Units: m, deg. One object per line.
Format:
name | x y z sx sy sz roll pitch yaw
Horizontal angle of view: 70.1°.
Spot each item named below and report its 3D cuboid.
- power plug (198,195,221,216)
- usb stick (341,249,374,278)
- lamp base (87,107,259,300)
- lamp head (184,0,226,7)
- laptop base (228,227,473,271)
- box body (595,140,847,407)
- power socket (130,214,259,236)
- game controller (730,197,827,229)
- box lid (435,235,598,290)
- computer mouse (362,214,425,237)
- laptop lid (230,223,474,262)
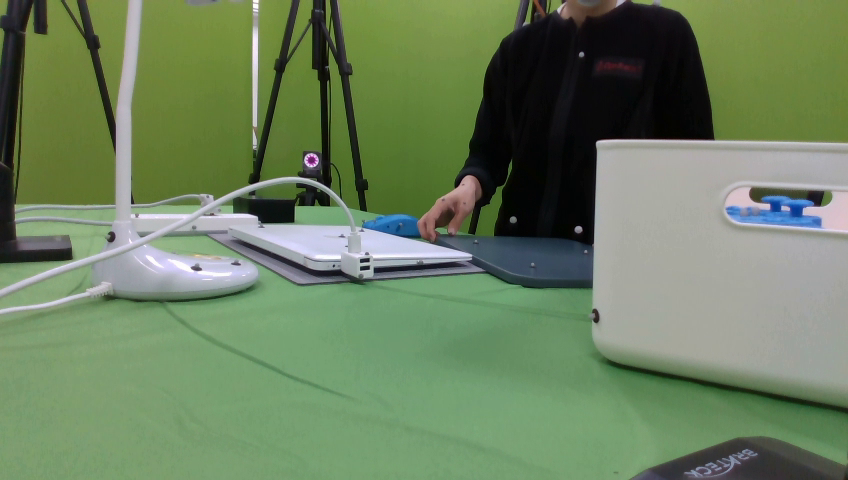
power plug | -0.386 -0.055 1.088 0.035 0.052 0.072 -2 6 -24
usb stick | -0.078 0.026 0.686 0.021 0.027 0.059 -8 8 -30
lamp base | -0.254 -0.039 0.603 0.160 0.180 0.179 5 10 18
lamp head | -0.229 -0.320 0.627 0.112 0.112 0.123 6 -35 26
laptop base | -0.124 0.011 0.889 0.237 0.023 0.352 2 6 -35
box body | 0.309 0.007 0.510 0.253 0.160 0.366 6 8 29
power socket | -0.397 -0.028 1.048 0.228 0.032 0.072 -3 7 -35
game controller | 0.257 -0.004 0.445 0.097 0.051 0.155 1 7 15
box lid | 0.187 0.027 0.895 0.264 0.015 0.370 1 8 -16
computer mouse | -0.057 -0.028 1.139 0.118 0.041 0.062 -2 9 -20
laptop lid | -0.121 0.000 0.888 0.243 0.013 0.355 1 7 -33
